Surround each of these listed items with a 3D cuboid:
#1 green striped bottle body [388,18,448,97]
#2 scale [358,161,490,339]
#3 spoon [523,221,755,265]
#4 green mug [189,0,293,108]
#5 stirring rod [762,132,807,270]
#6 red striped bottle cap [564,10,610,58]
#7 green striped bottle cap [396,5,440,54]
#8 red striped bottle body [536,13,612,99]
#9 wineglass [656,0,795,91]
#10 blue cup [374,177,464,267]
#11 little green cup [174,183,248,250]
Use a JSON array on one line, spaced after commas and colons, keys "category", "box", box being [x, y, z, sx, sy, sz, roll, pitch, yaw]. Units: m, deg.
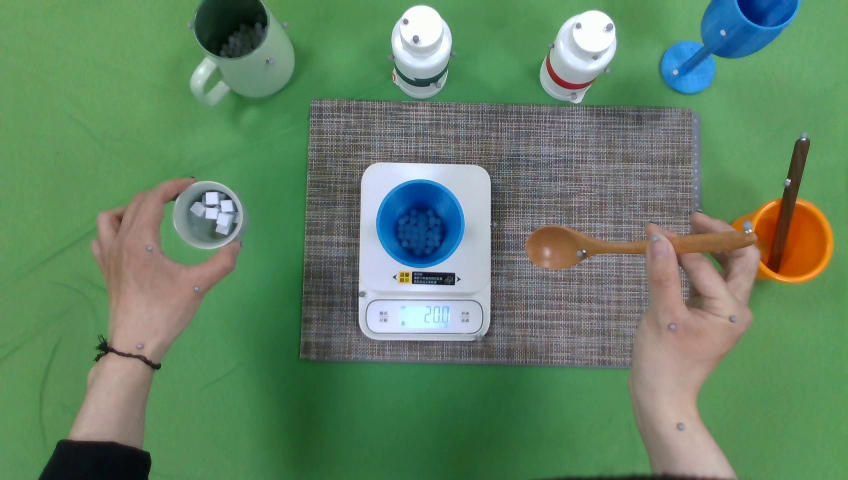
[{"category": "green striped bottle body", "box": [-0.006, -0.204, 0.660, 0.063, 0.119, 0.063, 0, 85, -1]}, {"category": "scale", "box": [0.000, 0.011, 0.682, 0.149, 0.031, 0.200, 0, 86, -1]}, {"category": "spoon", "box": [0.152, 0.002, 0.464, 0.021, 0.192, 0.042, -26, 104, -33]}, {"category": "green mug", "box": [-0.208, -0.199, 0.664, 0.092, 0.105, 0.125, 36, 86, 2]}, {"category": "stirring rod", "box": [0.381, -0.035, 0.644, 0.014, 0.005, 0.178, -13, 128, -1]}, {"category": "red striped bottle cap", "box": [0.164, -0.208, 0.609, 0.044, 0.018, 0.044, 0, 82, -1]}, {"category": "green striped bottle cap", "box": [-0.006, -0.210, 0.604, 0.044, 0.020, 0.044, 0, 84, 1]}, {"category": "red striped bottle body", "box": [0.164, -0.203, 0.663, 0.063, 0.120, 0.063, 0, 85, -1]}, {"category": "wineglass", "box": [0.309, -0.217, 0.639, 0.074, 0.172, 0.073, 0, 84, 0]}, {"category": "blue cup", "box": [-0.005, -0.014, 0.619, 0.092, 0.100, 0.092, 0, 87, -1]}, {"category": "little green cup", "box": [-0.192, -0.020, 0.556, 0.061, 0.038, 0.061, 0, 88, -2]}]
